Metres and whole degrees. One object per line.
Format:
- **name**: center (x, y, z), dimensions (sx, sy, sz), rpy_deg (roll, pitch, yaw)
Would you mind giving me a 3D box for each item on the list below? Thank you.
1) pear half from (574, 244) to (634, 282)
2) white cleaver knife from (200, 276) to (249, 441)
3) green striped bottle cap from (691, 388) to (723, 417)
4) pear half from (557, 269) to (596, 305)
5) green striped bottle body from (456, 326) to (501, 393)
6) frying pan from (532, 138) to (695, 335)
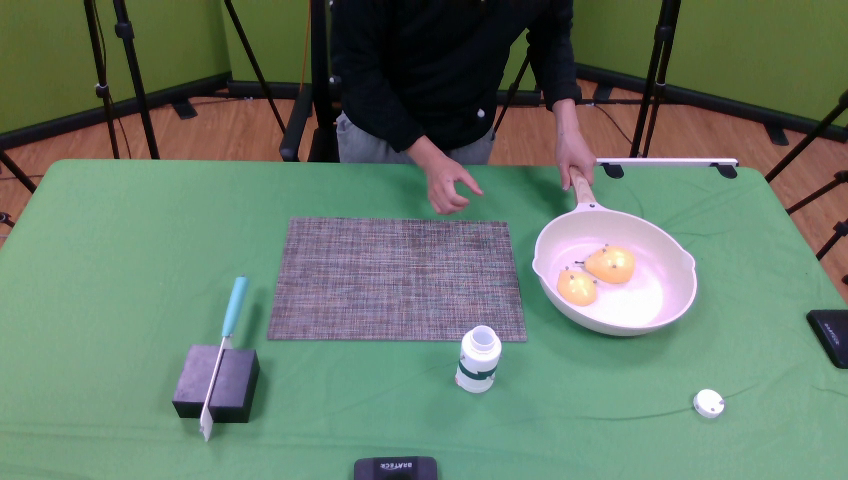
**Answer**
- **pear half**: center (0.346, 0.037, 1.165), dimensions (0.110, 0.056, 0.076), rpy_deg (3, 40, 3)
- **white cleaver knife**: center (-0.321, 0.177, 0.972), dimensions (0.021, 0.066, 0.284), rpy_deg (7, 48, -5)
- **green striped bottle cap**: center (0.460, 0.263, 0.984), dimensions (0.044, 0.020, 0.044), rpy_deg (3, 46, -3)
- **pear half**: center (0.286, 0.079, 1.134), dimensions (0.070, 0.031, 0.087), rpy_deg (-12, 52, -21)
- **green striped bottle body**: center (0.086, 0.185, 0.959), dimensions (0.063, 0.120, 0.063), rpy_deg (2, 46, -2)
- **frying pan**: center (0.336, -0.024, 1.190), dimensions (0.307, 0.103, 0.484), rpy_deg (-2, 55, -7)
